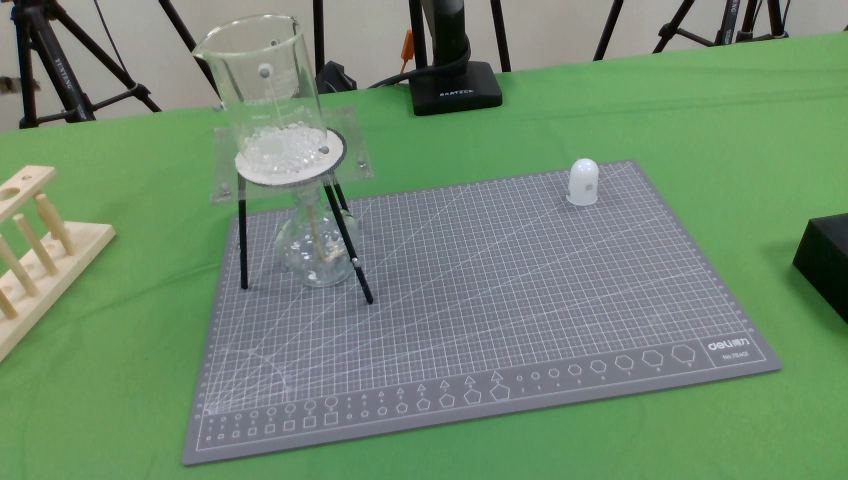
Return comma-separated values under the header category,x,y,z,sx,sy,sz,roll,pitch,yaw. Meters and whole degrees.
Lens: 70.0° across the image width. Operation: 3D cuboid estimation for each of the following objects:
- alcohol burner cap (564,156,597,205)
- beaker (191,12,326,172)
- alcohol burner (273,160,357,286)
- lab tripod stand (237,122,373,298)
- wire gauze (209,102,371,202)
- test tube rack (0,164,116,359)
category,x,y,z,sx,sy,sz,roll,pitch,yaw
alcohol burner cap,0.161,-0.063,0.622,0.034,0.048,0.033,-4,40,4
beaker,-0.120,-0.109,0.462,0.084,0.101,0.073,-12,40,-6
alcohol burner,-0.101,-0.018,0.544,0.078,0.120,0.077,-4,39,4
lab tripod stand,-0.107,-0.024,0.536,0.148,0.133,0.147,-4,42,4
wire gauze,-0.112,-0.073,0.494,0.125,0.011,0.120,-14,39,-5
test tube rack,-0.392,0.035,0.544,0.066,0.086,0.240,5,41,12
